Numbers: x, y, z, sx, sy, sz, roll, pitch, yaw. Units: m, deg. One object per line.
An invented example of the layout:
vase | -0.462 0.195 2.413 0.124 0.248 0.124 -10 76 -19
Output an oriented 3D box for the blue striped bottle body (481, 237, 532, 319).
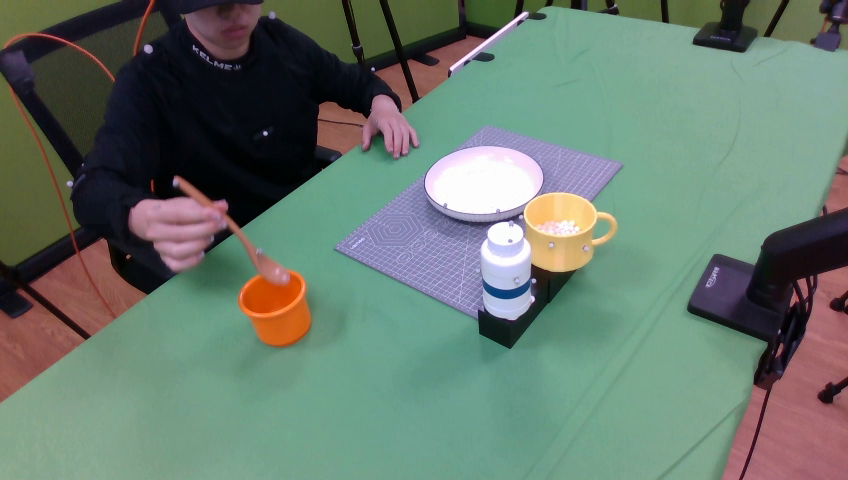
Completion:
blue striped bottle body | 0.104 0.037 0.756 0.063 0.121 0.063 -4 40 4

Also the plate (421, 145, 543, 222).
plate | 0.101 -0.094 1.048 0.207 0.039 0.206 -4 41 4

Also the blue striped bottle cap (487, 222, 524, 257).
blue striped bottle cap | 0.097 -0.001 0.722 0.044 0.021 0.044 -2 39 2

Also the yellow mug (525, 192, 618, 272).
yellow mug | 0.206 -0.014 0.845 0.131 0.064 0.099 -4 41 2

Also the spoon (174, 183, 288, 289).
spoon | -0.240 -0.004 0.766 0.021 0.195 0.041 -24 33 18
